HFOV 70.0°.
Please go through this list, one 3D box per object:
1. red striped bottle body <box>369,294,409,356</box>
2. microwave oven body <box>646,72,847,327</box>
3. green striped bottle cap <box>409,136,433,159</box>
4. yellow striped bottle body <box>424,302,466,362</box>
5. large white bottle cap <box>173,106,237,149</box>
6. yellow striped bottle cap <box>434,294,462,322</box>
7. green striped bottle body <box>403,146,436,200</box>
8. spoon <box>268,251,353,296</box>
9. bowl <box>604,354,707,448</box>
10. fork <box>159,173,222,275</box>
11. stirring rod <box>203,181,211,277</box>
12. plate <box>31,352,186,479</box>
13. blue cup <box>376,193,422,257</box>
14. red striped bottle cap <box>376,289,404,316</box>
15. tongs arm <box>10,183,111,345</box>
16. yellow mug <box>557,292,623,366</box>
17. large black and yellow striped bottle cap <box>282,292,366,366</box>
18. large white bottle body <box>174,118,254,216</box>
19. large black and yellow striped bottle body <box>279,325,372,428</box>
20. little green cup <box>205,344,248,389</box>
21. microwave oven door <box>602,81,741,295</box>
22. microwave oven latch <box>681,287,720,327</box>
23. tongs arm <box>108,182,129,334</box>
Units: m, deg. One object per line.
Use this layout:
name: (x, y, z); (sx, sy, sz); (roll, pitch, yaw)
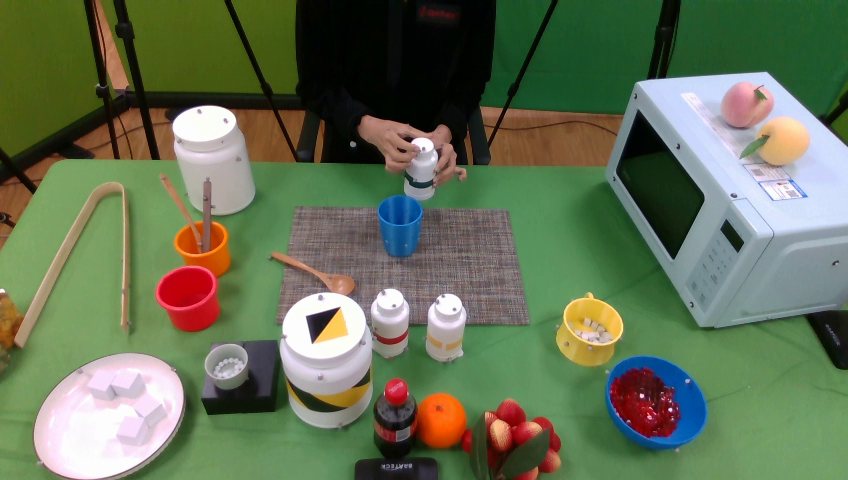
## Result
red striped bottle body: (-0.059, 0.134, 0.997); (0.063, 0.120, 0.062); (5, 47, -5)
microwave oven body: (0.607, -0.089, 1.164); (0.326, 0.261, 0.438); (-7, 46, -10)
green striped bottle cap: (-0.006, -0.173, 1.128); (0.044, 0.020, 0.044); (3, 52, -4)
yellow striped bottle body: (0.035, 0.143, 0.995); (0.063, 0.121, 0.062); (3, 46, -3)
large white bottle cap: (-0.411, -0.212, 1.138); (0.115, 0.018, 0.114); (3, 47, -2)
yellow striped bottle cap: (0.038, 0.107, 0.958); (0.044, 0.019, 0.044); (2, 45, -2)
green striped bottle body: (-0.009, -0.138, 1.167); (0.063, 0.120, 0.063); (2, 50, -2)
spoon: (-0.212, 0.057, 1.121); (0.193, 0.022, 0.041); (24, 74, 18)
bowl: (0.346, 0.261, 0.937); (0.151, 0.077, 0.150); (2, 46, -2)
fork: (-0.427, -0.029, 1.103); (0.028, 0.018, 0.207); (-31, 99, -30)
stirring rod: (-0.396, -0.021, 1.108); (0.014, 0.006, 0.176); (-1, 89, -2)
plate: (-0.459, 0.262, 0.898); (0.209, 0.038, 0.208); (2, 46, -2)
blue cup: (-0.047, -0.022, 1.155); (0.093, 0.101, 0.092); (1, 47, -1)
red striped bottle cap: (-0.054, 0.098, 0.958); (0.044, 0.018, 0.044); (0, 48, 1)
tongs arm: (-0.658, 0.027, 1.109); (0.028, 0.028, 0.385); (-2, 45, 2)
yellow mug: (0.285, 0.145, 1.051); (0.100, 0.064, 0.130); (7, 45, 4)
large black and yellow striped bottle cap: (-0.138, 0.121, 0.841); (0.115, 0.019, 0.114); (3, 47, -3)
large white bottle body: (-0.415, -0.154, 1.199); (0.131, 0.185, 0.130); (2, 46, -2)
large black and yellow striped bottle body: (-0.143, 0.181, 0.900); (0.131, 0.185, 0.130); (2, 46, -2)
little green cup: (-0.293, 0.191, 0.909); (0.061, 0.039, 0.061); (1, 47, -1)
microwave oven door: (0.456, -0.107, 1.162); (0.039, 0.245, 0.353); (-7, 47, -11)
microwave oven latch: (0.494, 0.119, 1.087); (0.030, 0.029, 0.078); (-5, 46, -9)
tongs arm: (-0.571, 0.019, 1.123); (0.051, 0.026, 0.382); (-10, 47, -12)
